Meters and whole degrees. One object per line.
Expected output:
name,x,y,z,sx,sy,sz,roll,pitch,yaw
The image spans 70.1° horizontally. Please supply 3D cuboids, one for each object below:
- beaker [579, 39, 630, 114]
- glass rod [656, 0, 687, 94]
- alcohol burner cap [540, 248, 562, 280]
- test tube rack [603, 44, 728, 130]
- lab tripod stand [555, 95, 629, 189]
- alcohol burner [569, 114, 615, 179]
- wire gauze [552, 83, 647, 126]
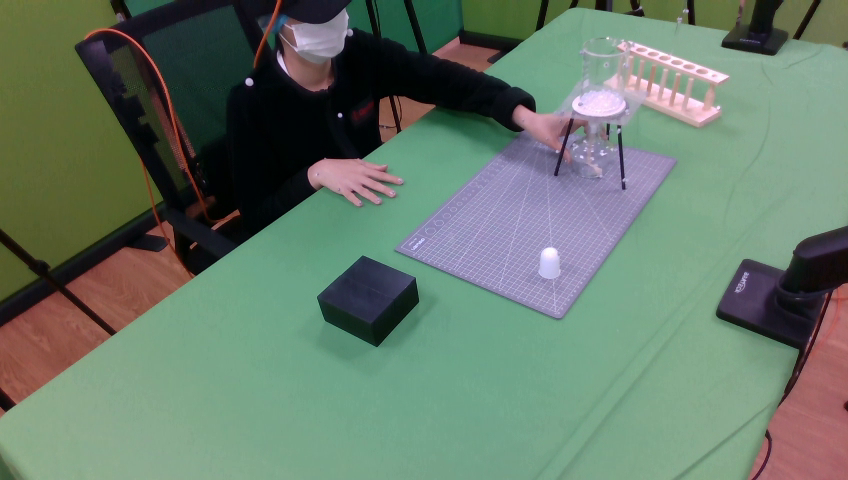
beaker,0.289,-0.263,0.975,0.073,0.101,0.084,17,45,27
glass rod,0.491,-0.381,1.199,0.008,0.200,0.008,1,41,0
alcohol burner cap,0.187,0.032,0.888,0.034,0.048,0.033,-4,40,4
test tube rack,0.480,-0.316,1.227,0.067,0.085,0.240,-28,44,-22
lab tripod stand,0.300,-0.174,1.045,0.148,0.132,0.147,-5,38,5
alcohol burner,0.294,-0.167,1.053,0.078,0.119,0.077,-3,40,3
wire gauze,0.293,-0.224,1.004,0.120,0.011,0.125,19,43,26
